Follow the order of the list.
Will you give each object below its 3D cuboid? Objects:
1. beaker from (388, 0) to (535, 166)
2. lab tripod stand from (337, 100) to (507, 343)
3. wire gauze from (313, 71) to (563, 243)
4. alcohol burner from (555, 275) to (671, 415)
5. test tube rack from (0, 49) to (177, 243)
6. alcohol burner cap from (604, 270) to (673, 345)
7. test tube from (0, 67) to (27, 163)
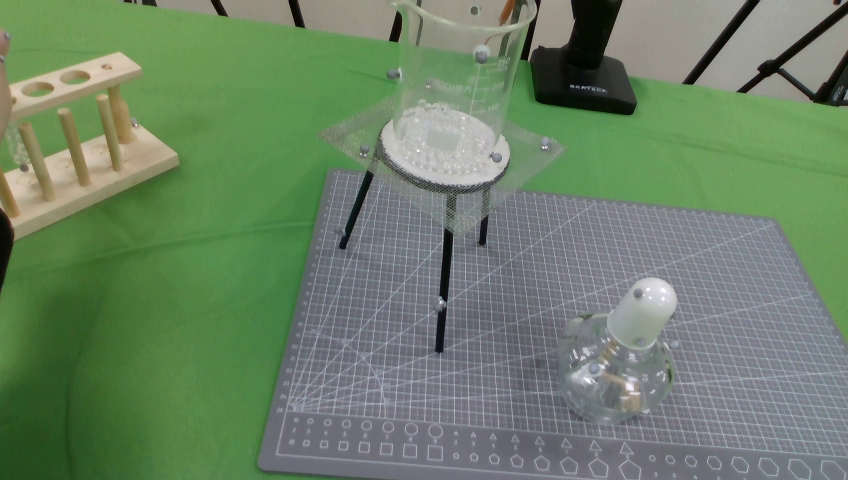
[{"bbox_3d":[0.014,-0.102,0.364,0.084,0.101,0.073,2,46,-8],"label":"beaker"},{"bbox_3d":[0.005,-0.020,0.444,0.149,0.132,0.147,6,46,-6],"label":"lab tripod stand"},{"bbox_3d":[0.011,-0.066,0.398,0.124,0.011,0.121,38,54,20],"label":"wire gauze"},{"bbox_3d":[0.129,0.063,0.398,0.078,0.120,0.077,6,44,-6],"label":"alcohol burner"},{"bbox_3d":[-0.321,-0.059,0.463,0.066,0.086,0.242,35,50,23],"label":"test tube rack"},{"bbox_3d":[0.134,0.039,0.372,0.034,0.048,0.033,5,48,-5],"label":"alcohol burner cap"},{"bbox_3d":[-0.315,-0.123,0.439,0.017,0.151,0.017,5,38,-3],"label":"test tube"}]
